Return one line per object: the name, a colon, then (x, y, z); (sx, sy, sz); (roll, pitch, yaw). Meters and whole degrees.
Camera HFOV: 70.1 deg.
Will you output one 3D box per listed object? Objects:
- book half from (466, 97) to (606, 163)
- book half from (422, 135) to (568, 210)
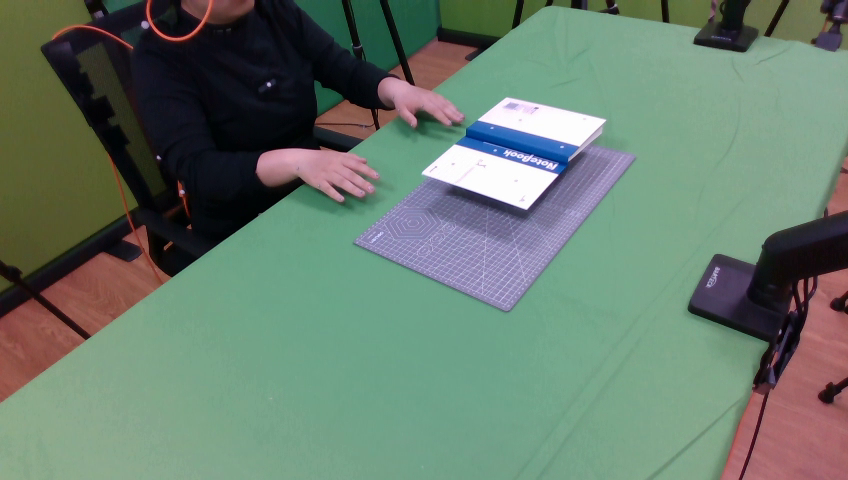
book half: (0.203, -0.207, 1.105); (0.208, 0.016, 0.149); (22, 47, 31)
book half: (0.119, -0.121, 1.027); (0.208, 0.007, 0.143); (22, 49, 30)
